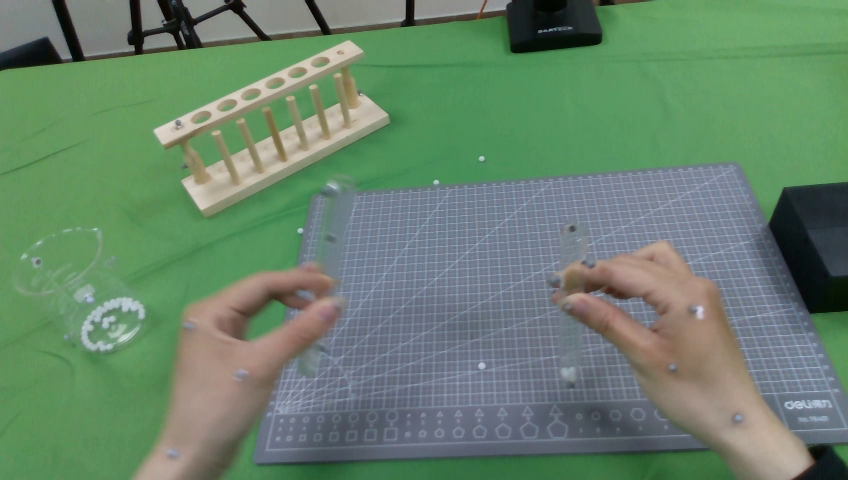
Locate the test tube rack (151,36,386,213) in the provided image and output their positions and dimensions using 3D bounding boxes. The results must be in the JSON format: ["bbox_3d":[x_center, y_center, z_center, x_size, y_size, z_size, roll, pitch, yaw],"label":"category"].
[{"bbox_3d":[-0.168,-0.135,0.689,0.242,0.086,0.066,-31,52,-18],"label":"test tube rack"}]

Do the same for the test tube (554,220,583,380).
[{"bbox_3d":[0.095,0.047,0.404,0.017,0.152,0.017,-6,43,6],"label":"test tube"}]

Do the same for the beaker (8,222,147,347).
[{"bbox_3d":[-0.303,0.042,0.546,0.073,0.101,0.083,18,53,22],"label":"beaker"}]

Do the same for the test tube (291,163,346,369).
[{"bbox_3d":[-0.069,0.022,0.386,0.017,0.151,0.017,11,27,-5],"label":"test tube"}]
